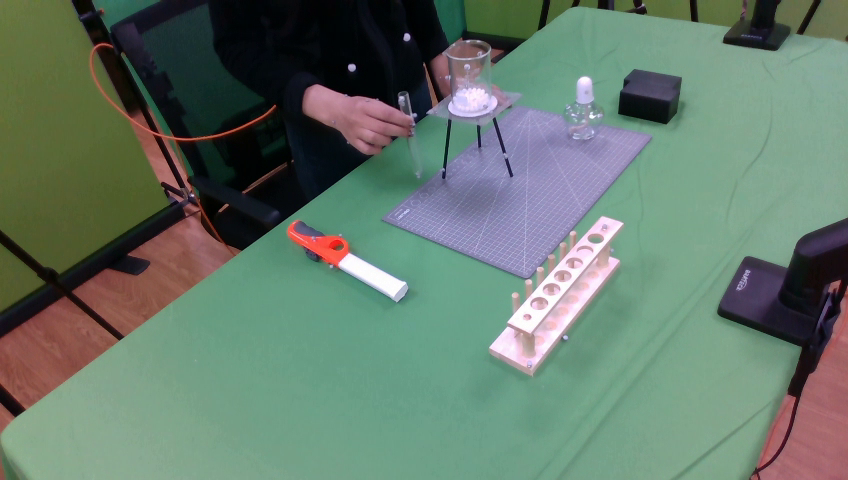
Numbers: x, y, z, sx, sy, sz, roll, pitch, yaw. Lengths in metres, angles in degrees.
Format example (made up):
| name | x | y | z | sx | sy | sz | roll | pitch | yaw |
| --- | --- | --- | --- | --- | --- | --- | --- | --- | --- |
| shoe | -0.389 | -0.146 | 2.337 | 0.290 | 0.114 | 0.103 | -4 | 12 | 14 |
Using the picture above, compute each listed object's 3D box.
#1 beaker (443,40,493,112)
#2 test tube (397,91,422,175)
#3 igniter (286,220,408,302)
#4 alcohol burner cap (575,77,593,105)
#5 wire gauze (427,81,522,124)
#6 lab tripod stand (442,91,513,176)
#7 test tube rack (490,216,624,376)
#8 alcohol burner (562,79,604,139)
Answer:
| name | x | y | z | sx | sy | sz | roll | pitch | yaw |
| --- | --- | --- | --- | --- | --- | --- | --- | --- | --- |
| beaker | 0.076 | -0.276 | 1.023 | 0.083 | 0.101 | 0.074 | 5 | 42 | 15 |
| test tube | -0.022 | -0.164 | 0.947 | 0.017 | 0.151 | 0.017 | -6 | 43 | 6 |
| igniter | -0.134 | 0.028 | 0.969 | 0.274 | 0.025 | 0.057 | 26 | 61 | 35 |
| alcohol burner cap | 0.297 | -0.279 | 1.123 | 0.034 | 0.048 | 0.033 | -8 | 41 | 8 |
| wire gauze | 0.088 | -0.237 | 1.051 | 0.120 | 0.011 | 0.125 | 23 | 47 | 29 |
| lab tripod stand | 0.096 | -0.190 | 1.096 | 0.148 | 0.132 | 0.147 | -4 | 40 | 4 |
| test tube rack | 0.184 | 0.064 | 0.822 | 0.066 | 0.085 | 0.243 | 24 | 50 | 33 |
| alcohol burner | 0.303 | -0.253 | 1.147 | 0.078 | 0.119 | 0.077 | -4 | 41 | 4 |
